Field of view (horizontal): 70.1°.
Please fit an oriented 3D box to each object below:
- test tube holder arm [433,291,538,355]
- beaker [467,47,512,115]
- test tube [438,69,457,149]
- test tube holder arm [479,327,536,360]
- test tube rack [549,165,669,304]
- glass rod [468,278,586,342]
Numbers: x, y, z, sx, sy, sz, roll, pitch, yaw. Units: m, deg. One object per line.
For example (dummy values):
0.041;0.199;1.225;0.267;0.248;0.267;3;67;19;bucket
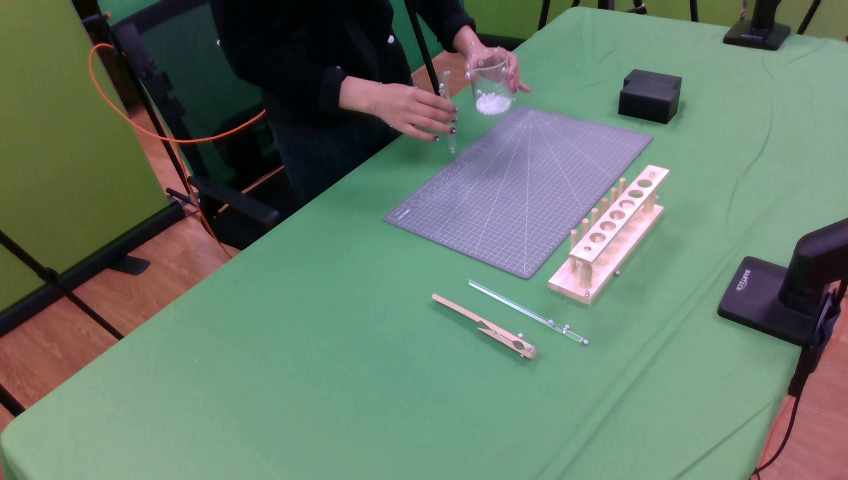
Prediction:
0.081;0.112;0.832;0.177;0.015;0.013;29;82;36;test tube holder arm
0.119;-0.285;1.095;0.084;0.101;0.073;-34;45;-21;beaker
0.041;-0.224;1.051;0.017;0.151;0.017;-6;39;6;test tube
0.110;0.134;0.805;0.087;0.015;0.010;29;83;36;test tube holder arm
0.279;-0.018;0.902;0.066;0.085;0.243;24;50;33;test tube rack
0.140;0.096;0.853;0.198;0.008;0.008;27;52;35;glass rod
